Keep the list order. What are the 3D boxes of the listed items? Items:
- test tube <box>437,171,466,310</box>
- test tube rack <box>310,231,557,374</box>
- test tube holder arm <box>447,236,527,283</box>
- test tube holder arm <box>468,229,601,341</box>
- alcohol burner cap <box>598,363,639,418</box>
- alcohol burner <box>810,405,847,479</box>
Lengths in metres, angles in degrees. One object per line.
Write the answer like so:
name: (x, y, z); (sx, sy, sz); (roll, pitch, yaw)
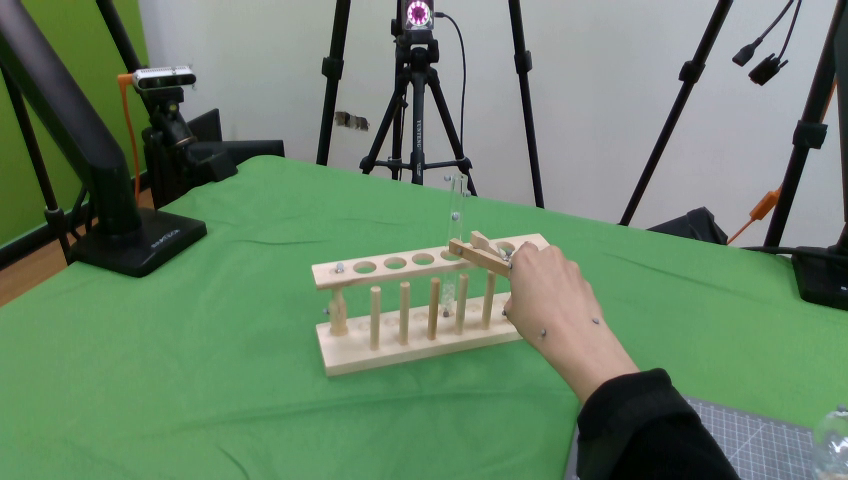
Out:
test tube: (0.027, 0.004, 0.600); (0.017, 0.151, 0.017); (4, 26, -1)
test tube rack: (0.015, 0.058, 0.605); (0.243, 0.086, 0.066); (-8, 32, -16)
test tube holder arm: (0.058, 0.017, 0.554); (0.087, 0.015, 0.010); (23, 36, 33)
test tube holder arm: (0.089, 0.033, 0.527); (0.013, 0.015, 0.176); (-17, 34, -26)
alcohol burner cap: (0.173, 0.129, 0.533); (0.034, 0.048, 0.033); (2, 33, -1)
alcohol burner: (0.337, 0.143, 0.449); (0.078, 0.120, 0.077); (2, 33, -1)
